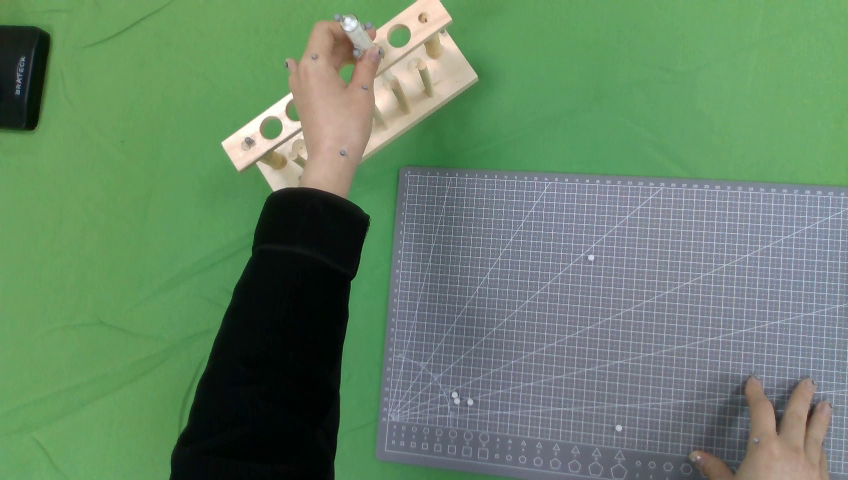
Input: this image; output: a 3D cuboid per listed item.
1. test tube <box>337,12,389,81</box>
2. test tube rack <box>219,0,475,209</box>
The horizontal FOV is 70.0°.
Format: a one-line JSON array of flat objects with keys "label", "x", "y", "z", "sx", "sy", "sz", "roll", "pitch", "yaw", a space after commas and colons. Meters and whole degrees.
[{"label": "test tube", "x": -0.051, "y": -0.168, "z": 0.542, "sx": 0.017, "sy": 0.150, "sz": 0.017, "roll": 0, "pitch": 89, "yaw": 7}, {"label": "test tube rack", "x": -0.071, "y": -0.130, "z": 0.598, "sx": 0.242, "sy": 0.085, "sz": 0.066, "roll": -34, "pitch": 81, "yaw": 5}]
